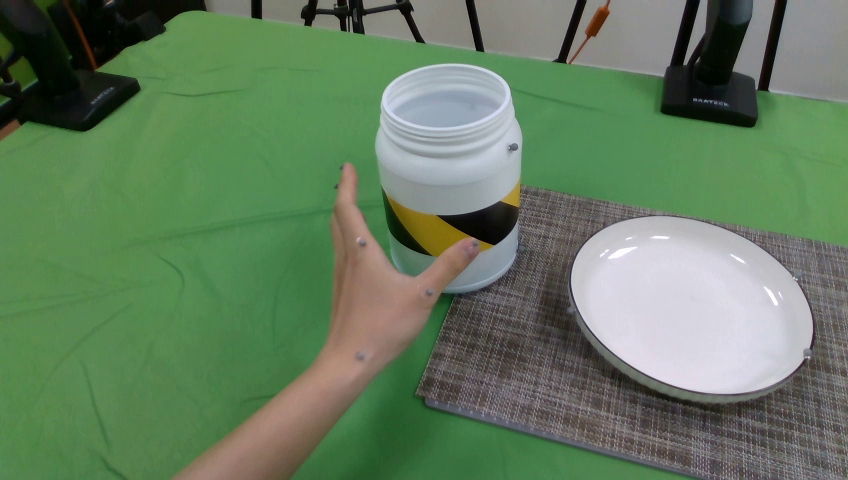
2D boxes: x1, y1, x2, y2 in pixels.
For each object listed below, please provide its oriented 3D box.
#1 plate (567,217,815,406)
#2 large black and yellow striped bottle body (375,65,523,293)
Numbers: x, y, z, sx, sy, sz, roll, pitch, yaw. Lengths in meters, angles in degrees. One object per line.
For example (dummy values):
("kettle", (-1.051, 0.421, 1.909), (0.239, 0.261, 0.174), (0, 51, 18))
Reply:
("plate", (0.232, 0.061, 0.546), (0.208, 0.039, 0.205), (0, 44, 1))
("large black and yellow striped bottle body", (0.025, -0.054, 0.565), (0.131, 0.186, 0.129), (-3, 43, 3))
